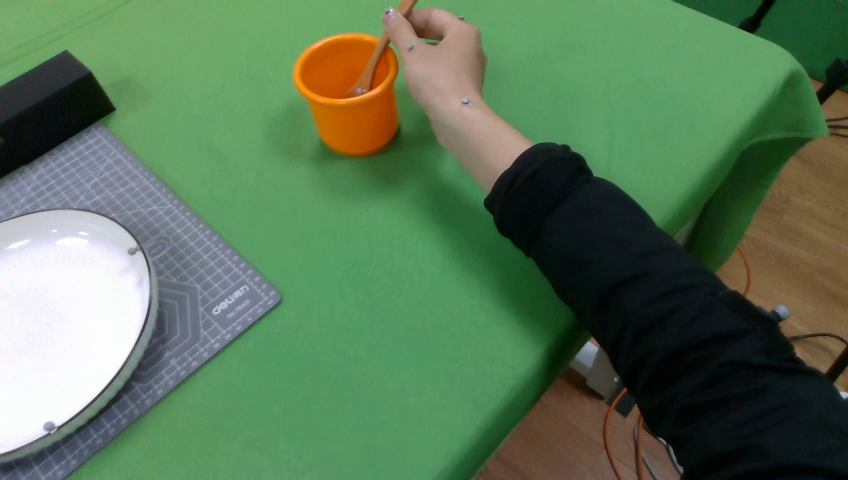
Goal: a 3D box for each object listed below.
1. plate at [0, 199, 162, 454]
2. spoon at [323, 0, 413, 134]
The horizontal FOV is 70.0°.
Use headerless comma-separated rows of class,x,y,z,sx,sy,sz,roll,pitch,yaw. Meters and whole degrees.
plate,-0.298,0.061,0.456,0.209,0.038,0.207,-2,57,3
spoon,-0.034,-0.175,0.529,0.041,0.194,0.022,47,26,25
